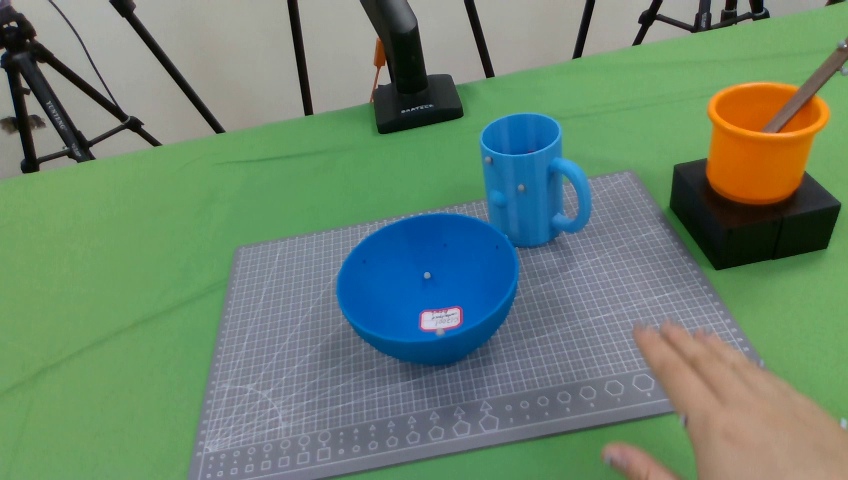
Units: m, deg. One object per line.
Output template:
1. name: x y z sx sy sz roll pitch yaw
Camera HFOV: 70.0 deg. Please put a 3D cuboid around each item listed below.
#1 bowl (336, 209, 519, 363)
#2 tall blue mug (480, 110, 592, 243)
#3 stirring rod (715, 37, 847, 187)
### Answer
1. bowl: 0.008 0.050 0.512 0.151 0.077 0.150 -7 40 6
2. tall blue mug: 0.112 -0.059 0.589 0.107 0.109 0.077 6 43 20
3. stirring rod: 0.313 -0.115 0.509 0.176 0.006 0.014 -52 40 19
